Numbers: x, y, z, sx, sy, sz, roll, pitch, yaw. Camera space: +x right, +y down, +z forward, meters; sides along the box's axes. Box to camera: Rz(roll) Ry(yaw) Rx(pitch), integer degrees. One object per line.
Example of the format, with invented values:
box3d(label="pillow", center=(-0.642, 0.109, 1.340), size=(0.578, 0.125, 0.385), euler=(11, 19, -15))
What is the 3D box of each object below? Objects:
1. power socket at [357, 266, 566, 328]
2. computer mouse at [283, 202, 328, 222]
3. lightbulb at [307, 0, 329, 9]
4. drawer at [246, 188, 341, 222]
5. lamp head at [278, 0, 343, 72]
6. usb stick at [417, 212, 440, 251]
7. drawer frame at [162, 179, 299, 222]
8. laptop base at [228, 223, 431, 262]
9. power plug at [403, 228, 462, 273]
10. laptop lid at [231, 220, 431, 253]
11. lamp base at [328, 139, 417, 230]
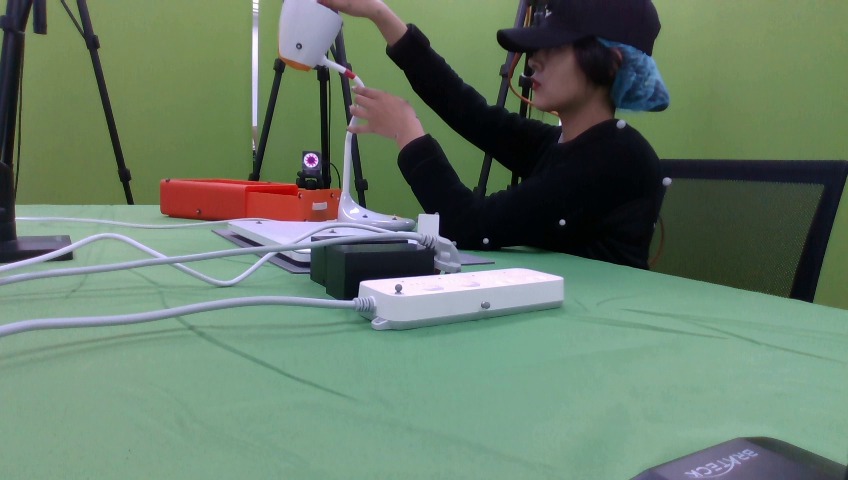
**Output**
box3d(label="power socket", center=(0.042, 0.049, 0.573), size=(0.228, 0.032, 0.072), euler=(-3, 8, -34))
box3d(label="computer mouse", center=(-0.251, -0.060, 1.287), size=(0.063, 0.041, 0.117), euler=(3, 4, 11))
box3d(label="lightbulb", center=(-0.212, -0.403, 1.111), size=(0.059, 0.107, 0.059), euler=(22, 14, -5))
box3d(label="drawer", center=(-0.312, -0.078, 1.296), size=(0.211, 0.073, 0.195), euler=(4, 9, 17))
box3d(label="lamp head", center=(-0.218, -0.375, 1.125), size=(0.112, 0.123, 0.112), euler=(17, 10, -3))
box3d(label="usb stick", center=(0.005, -0.003, 0.721), size=(0.027, 0.059, 0.021), euler=(0, -3, -3))
box3d(label="drawer frame", center=(-0.418, -0.089, 1.328), size=(0.213, 0.082, 0.202), euler=(4, 8, 18))
box3d(label="laptop base", center=(-0.145, 0.002, 0.942), size=(0.237, 0.023, 0.352), euler=(2, 6, -32))
box3d(label="power plug", center=(0.006, 0.016, 0.647), size=(0.073, 0.052, 0.035), euler=(18, 12, -6))
box3d(label="laptop lid", center=(-0.142, -0.009, 0.942), size=(0.243, 0.013, 0.355), euler=(1, 7, -31))
box3d(label="lamp base", center=(-0.104, -0.113, 1.212), size=(0.180, 0.180, 0.160), euler=(-2, 7, -15))
